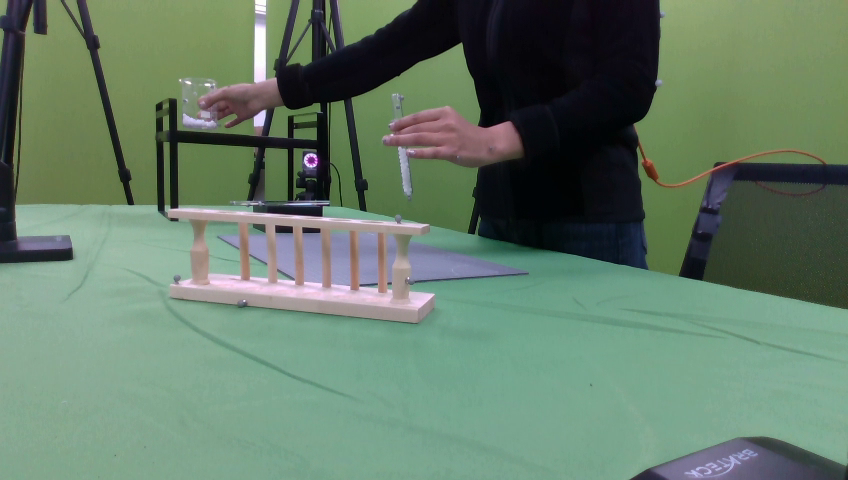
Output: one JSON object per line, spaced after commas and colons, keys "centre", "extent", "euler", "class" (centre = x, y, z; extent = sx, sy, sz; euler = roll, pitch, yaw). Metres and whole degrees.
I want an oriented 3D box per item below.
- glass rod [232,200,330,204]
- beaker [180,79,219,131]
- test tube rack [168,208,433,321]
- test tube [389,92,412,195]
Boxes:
{"centre": [-0.265, -0.072, 1.145], "extent": [0.201, 0.008, 0.008], "euler": [-4, 9, -40], "class": "glass rod"}
{"centre": [-0.475, -0.284, 1.279], "extent": [0.073, 0.100, 0.084], "euler": [4, 7, 37], "class": "beaker"}
{"centre": [-0.116, 0.017, 0.574], "extent": [0.242, 0.085, 0.067], "euler": [4, 8, 13], "class": "test tube rack"}
{"centre": [-0.035, -0.141, 0.887], "extent": [0.017, 0.150, 0.017], "euler": [-7, 3, 1], "class": "test tube"}
